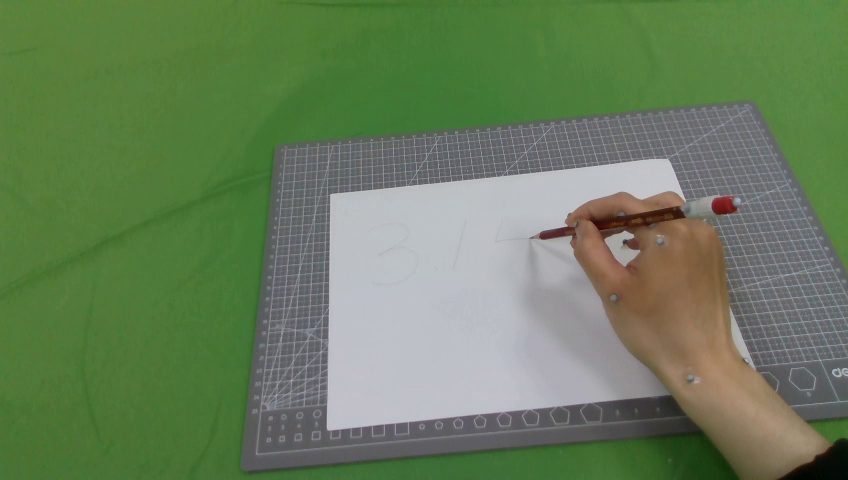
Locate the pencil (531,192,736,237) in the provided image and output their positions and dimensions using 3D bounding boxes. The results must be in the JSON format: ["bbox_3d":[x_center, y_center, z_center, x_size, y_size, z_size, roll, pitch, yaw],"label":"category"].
[{"bbox_3d":[0.122,-0.013,0.400,0.012,0.193,0.012,2,84,-21],"label":"pencil"}]
